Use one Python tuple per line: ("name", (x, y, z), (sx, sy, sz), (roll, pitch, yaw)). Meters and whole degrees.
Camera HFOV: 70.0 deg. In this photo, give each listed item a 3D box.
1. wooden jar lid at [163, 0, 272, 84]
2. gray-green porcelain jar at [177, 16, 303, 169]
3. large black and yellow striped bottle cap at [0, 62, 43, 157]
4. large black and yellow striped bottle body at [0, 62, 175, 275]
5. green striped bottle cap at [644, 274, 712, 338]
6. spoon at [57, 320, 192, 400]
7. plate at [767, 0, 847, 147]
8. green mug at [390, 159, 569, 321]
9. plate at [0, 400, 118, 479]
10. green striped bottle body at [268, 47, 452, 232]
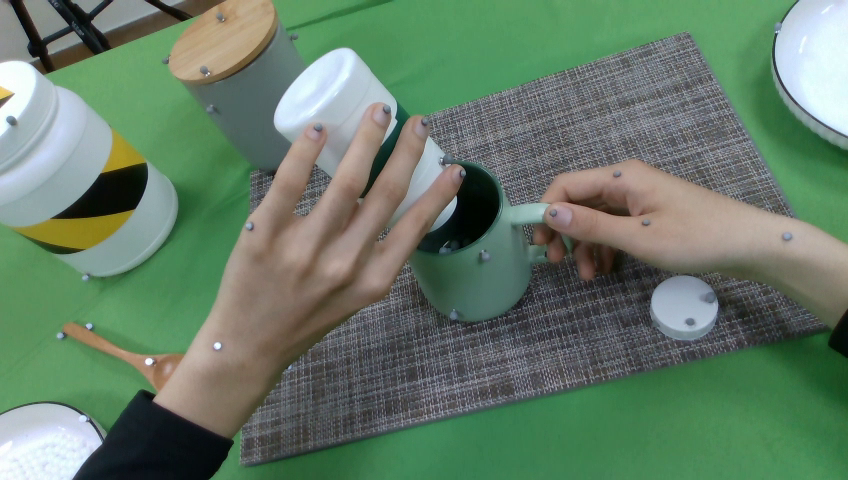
("wooden jar lid", (-0.181, -0.176, 0.541), (0.108, 0.021, 0.107), (-11, 56, 17))
("gray-green porcelain jar", (-0.163, -0.140, 0.590), (0.105, 0.128, 0.105), (-9, 54, 13))
("large black and yellow striped bottle cap", (-0.370, -0.101, 0.501), (0.115, 0.019, 0.114), (-8, 57, 13))
("large black and yellow striped bottle body", (-0.345, -0.061, 0.571), (0.130, 0.186, 0.129), (-8, 58, 14))
("green striped bottle cap", (0.180, 0.046, 0.429), (0.044, 0.020, 0.044), (-9, 53, 12))
("spoon", (-0.277, 0.100, 0.550), (0.192, 0.022, 0.041), (14, 85, 25))
("plate", (0.377, -0.139, 0.464), (0.207, 0.039, 0.205), (-9, 58, 14))
("green mug", (0.043, 0.000, 0.448), (0.125, 0.106, 0.091), (-8, 57, 14))
("plate", (-0.329, 0.233, 0.478), (0.209, 0.038, 0.207), (-8, 58, 14))
("green striped bottle body", (-0.032, -0.054, 0.375), (0.063, 0.120, 0.062), (-26, 41, 26))
